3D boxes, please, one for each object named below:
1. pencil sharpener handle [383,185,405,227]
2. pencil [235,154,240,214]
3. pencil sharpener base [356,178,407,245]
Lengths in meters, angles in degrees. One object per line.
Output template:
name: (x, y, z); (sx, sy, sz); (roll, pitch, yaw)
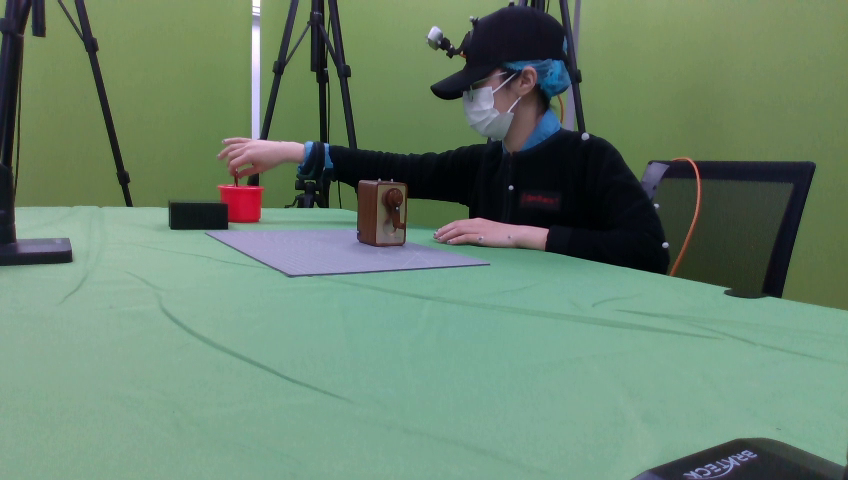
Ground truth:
pencil sharpener handle: (-0.043, -0.055, 0.975); (0.036, 0.067, 0.030); (-9, 13, -31)
pencil: (-0.414, -0.126, 1.341); (0.012, 0.012, 0.193); (0, 47, -18)
pencil sharpener base: (-0.071, -0.049, 1.018); (0.062, 0.107, 0.076); (-2, 9, -32)
